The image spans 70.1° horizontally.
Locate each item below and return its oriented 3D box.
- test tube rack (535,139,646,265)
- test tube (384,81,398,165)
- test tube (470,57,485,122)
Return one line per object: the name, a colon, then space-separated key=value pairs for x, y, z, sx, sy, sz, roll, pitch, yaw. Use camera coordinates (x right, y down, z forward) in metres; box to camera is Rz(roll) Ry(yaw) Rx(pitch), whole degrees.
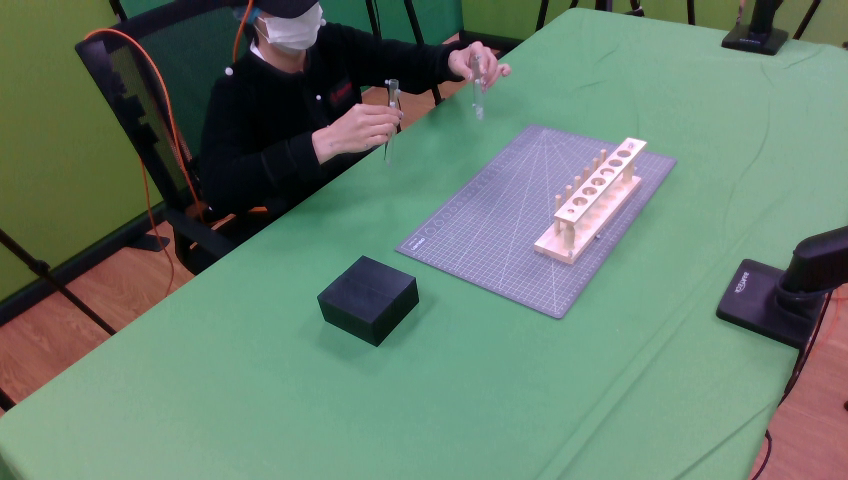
test tube rack: x=0.269 y=-0.071 z=0.964 sx=0.066 sy=0.085 sz=0.243 roll=23 pitch=49 yaw=32
test tube: x=-0.057 y=-0.198 z=1.035 sx=0.017 sy=0.150 sz=0.017 roll=5 pitch=32 yaw=-2
test tube: x=0.095 y=-0.261 z=1.063 sx=0.017 sy=0.151 sz=0.017 roll=-4 pitch=58 yaw=7
